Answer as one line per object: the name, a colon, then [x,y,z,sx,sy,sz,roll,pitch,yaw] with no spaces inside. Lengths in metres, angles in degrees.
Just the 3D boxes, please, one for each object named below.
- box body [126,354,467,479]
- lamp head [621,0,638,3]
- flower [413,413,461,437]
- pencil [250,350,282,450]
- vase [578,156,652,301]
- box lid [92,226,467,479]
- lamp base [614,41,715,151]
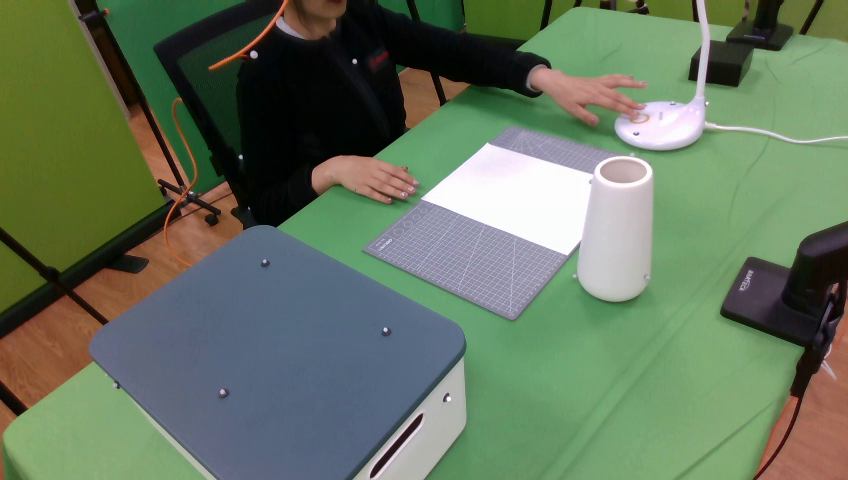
box body: [-0.155,0.169,0.707,0.361,0.161,0.255,23,49,33]
lamp head: [0.319,-0.453,0.962,0.113,0.123,0.112,20,33,-13]
flower: [-0.120,0.203,0.774,0.359,0.038,0.044,2,78,25]
pencil: [-0.212,0.203,0.798,0.012,0.012,0.192,-22,35,-14]
vase: [0.261,-0.011,0.812,0.098,0.201,0.097,-4,40,4]
box lid: [-0.167,0.110,0.661,0.368,0.015,0.264,24,50,33]
lamp base: [0.449,-0.277,1.106,0.179,0.181,0.160,1,41,9]
